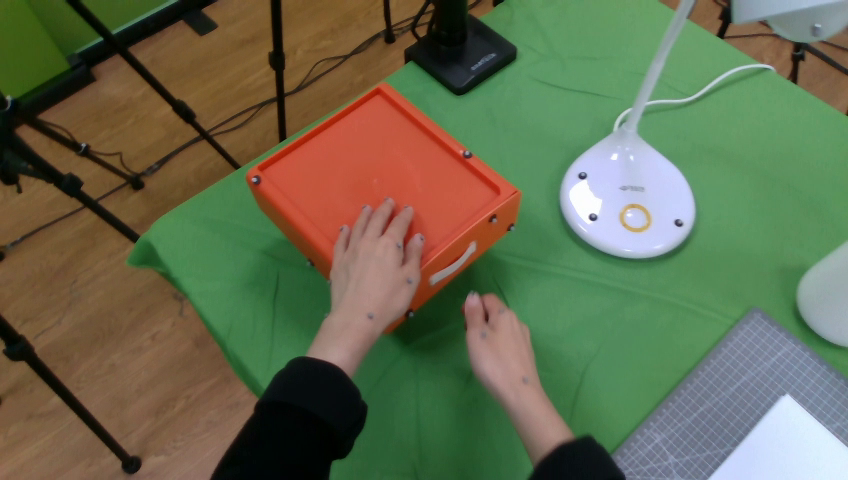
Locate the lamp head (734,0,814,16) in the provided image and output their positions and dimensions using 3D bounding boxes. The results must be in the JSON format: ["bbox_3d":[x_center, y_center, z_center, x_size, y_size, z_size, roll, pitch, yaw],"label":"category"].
[{"bbox_3d":[0.262,-0.220,0.404,0.112,0.112,0.123,-13,99,-7],"label":"lamp head"}]

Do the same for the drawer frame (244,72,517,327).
[{"bbox_3d":[-0.045,-0.049,0.653,0.201,0.083,0.212,-40,68,-19],"label":"drawer frame"}]

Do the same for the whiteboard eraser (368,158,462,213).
[{"bbox_3d":[-0.010,-0.063,0.700,0.112,0.042,0.055,11,66,42],"label":"whiteboard eraser"}]

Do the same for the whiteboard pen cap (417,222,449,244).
[{"bbox_3d":[0.009,-0.008,0.651,0.033,0.018,0.018,15,61,6],"label":"whiteboard pen cap"}]

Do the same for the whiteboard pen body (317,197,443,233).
[{"bbox_3d":[-0.048,-0.025,0.653,0.140,0.017,0.017,13,61,8],"label":"whiteboard pen body"}]

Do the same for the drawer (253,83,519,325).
[{"bbox_3d":[-0.040,-0.048,0.650,0.194,0.074,0.210,-39,66,-19],"label":"drawer"}]

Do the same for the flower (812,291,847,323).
[{"bbox_3d":[0.464,-0.029,0.521,0.038,0.364,0.044,31,47,10],"label":"flower"}]

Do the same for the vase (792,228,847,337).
[{"bbox_3d":[0.448,0.018,0.589,0.098,0.201,0.097,-1,59,2],"label":"vase"}]

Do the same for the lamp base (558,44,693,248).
[{"bbox_3d":[0.240,-0.110,0.675,0.161,0.182,0.177,-6,57,-3],"label":"lamp base"}]
